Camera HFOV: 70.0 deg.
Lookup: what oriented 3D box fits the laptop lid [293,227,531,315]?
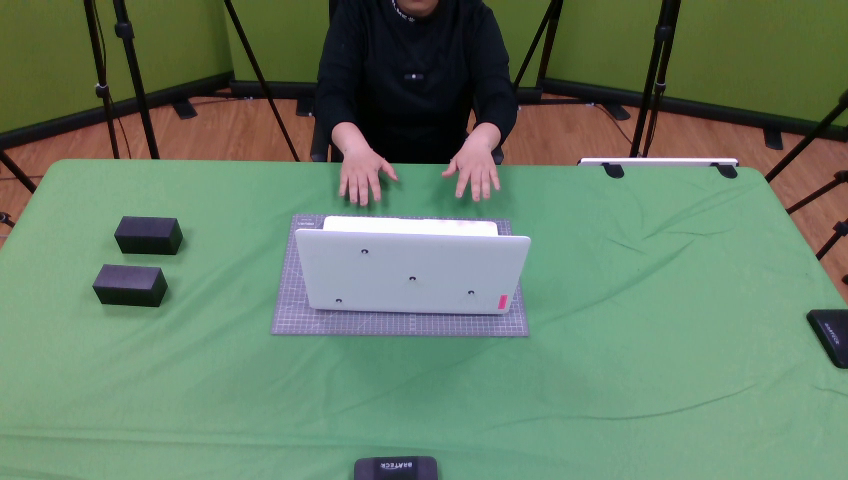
[{"bbox_3d":[-0.021,0.058,0.975,0.357,0.243,0.013,3,53,-4],"label":"laptop lid"}]

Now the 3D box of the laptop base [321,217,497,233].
[{"bbox_3d":[-0.028,0.045,1.154,0.354,0.023,0.234,2,43,-3],"label":"laptop base"}]
